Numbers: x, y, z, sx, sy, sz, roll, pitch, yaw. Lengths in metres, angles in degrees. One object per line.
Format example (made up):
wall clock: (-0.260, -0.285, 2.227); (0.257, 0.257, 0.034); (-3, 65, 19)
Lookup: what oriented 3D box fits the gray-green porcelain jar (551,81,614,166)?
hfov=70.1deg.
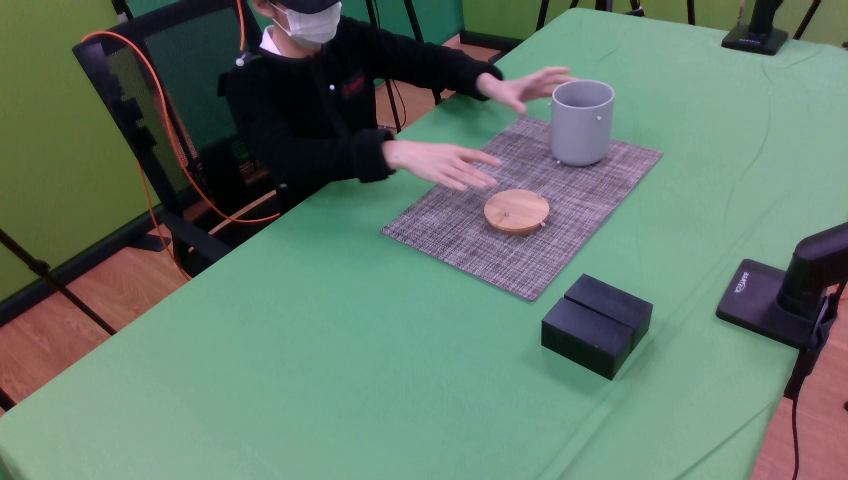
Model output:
gray-green porcelain jar: (0.282, -0.205, 1.086); (0.106, 0.127, 0.105); (-4, 40, 4)

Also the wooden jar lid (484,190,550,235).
wooden jar lid: (0.154, -0.045, 1.001); (0.108, 0.021, 0.108); (-3, 40, 3)
